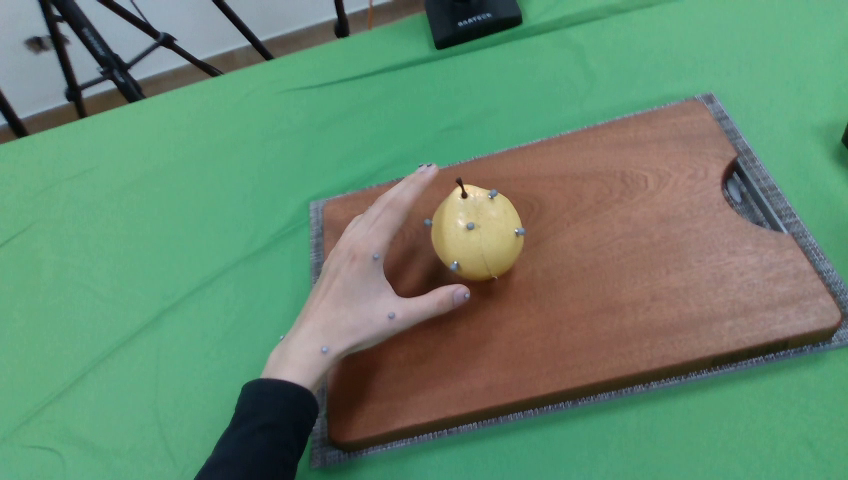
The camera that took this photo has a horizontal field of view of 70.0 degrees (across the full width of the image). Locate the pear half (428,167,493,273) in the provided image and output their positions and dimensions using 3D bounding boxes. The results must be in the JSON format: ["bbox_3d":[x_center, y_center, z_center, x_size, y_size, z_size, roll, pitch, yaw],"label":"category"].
[{"bbox_3d":[0.028,-0.021,0.508,0.056,0.111,0.075,-7,48,12],"label":"pear half"}]

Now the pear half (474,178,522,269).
[{"bbox_3d":[0.065,-0.018,0.506,0.031,0.089,0.070,-8,46,13],"label":"pear half"}]
